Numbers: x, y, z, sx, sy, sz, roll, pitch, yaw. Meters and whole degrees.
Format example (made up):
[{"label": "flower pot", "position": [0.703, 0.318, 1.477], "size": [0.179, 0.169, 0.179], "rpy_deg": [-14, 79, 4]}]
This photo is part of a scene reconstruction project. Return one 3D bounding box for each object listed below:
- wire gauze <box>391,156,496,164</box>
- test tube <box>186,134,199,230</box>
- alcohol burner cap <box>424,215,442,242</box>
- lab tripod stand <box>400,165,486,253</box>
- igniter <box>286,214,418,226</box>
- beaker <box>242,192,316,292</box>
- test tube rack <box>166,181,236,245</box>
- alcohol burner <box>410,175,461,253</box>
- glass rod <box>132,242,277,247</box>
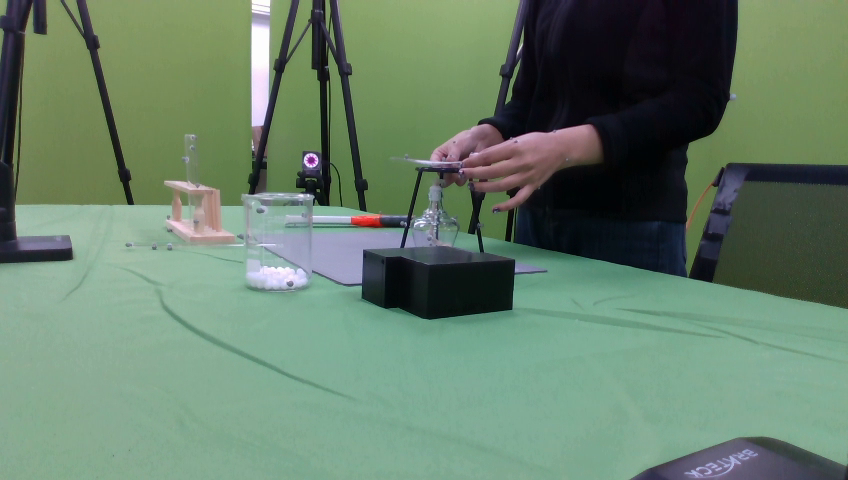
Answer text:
[{"label": "wire gauze", "position": [0.029, -0.122, 0.920], "size": [0.122, 0.011, 0.124], "rpy_deg": [-5, 10, -35]}, {"label": "test tube", "position": [-0.360, -0.089, 0.946], "size": [0.017, 0.150, 0.017], "rpy_deg": [0, 10, 0]}, {"label": "alcohol burner cap", "position": [0.017, -0.022, 1.098], "size": [0.034, 0.048, 0.034], "rpy_deg": [2, 8, 0]}, {"label": "lab tripod stand", "position": [0.028, -0.049, 0.930], "size": [0.148, 0.131, 0.148], "rpy_deg": [3, 9, 0]}, {"label": "igniter", "position": [-0.146, -0.043, 1.263], "size": [0.278, 0.025, 0.057], "rpy_deg": [-1, -2, -24]}, {"label": "beaker", "position": [-0.157, 0.000, 0.642], "size": [0.084, 0.100, 0.074], "rpy_deg": [4, 7, 19]}, {"label": "test tube rack", "position": [-0.383, -0.051, 1.024], "size": [0.067, 0.085, 0.241], "rpy_deg": [-2, 9, -31]}, {"label": "alcohol burner", "position": [0.018, -0.040, 0.931], "size": [0.078, 0.119, 0.078], "rpy_deg": [0, 6, 0]}, {"label": "glass rod", "position": [-0.316, 0.007, 0.885], "size": [0.201, 0.008, 0.008], "rpy_deg": [0, 7, -27]}]
